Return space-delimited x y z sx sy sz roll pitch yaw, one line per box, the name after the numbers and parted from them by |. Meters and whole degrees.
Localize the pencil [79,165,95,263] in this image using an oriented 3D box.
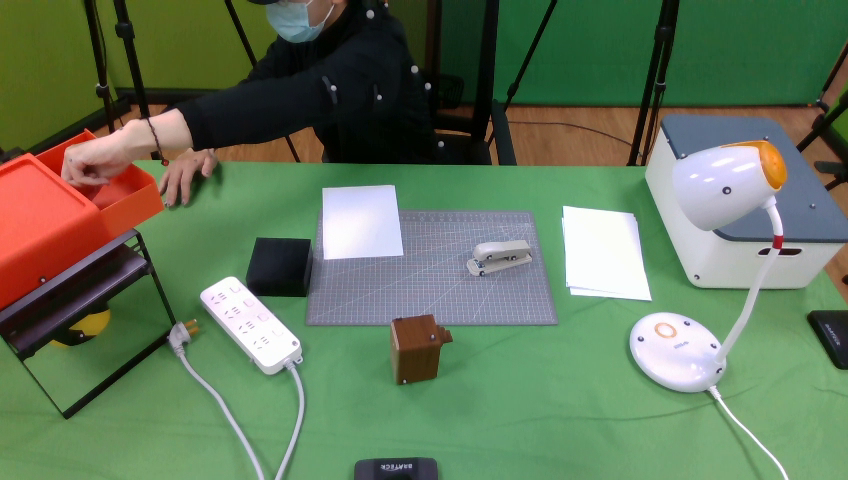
-0.527 -0.046 0.944 0.012 0.012 0.193 -14 60 -17 | pencil

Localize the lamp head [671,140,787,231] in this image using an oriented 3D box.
0.415 -0.078 0.811 0.113 0.123 0.112 13 70 -37 | lamp head

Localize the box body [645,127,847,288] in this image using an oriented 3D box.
0.625 -0.080 1.222 0.254 0.161 0.361 0 46 -3 | box body

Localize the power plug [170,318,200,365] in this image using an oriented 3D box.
-0.392 0.167 1.015 0.052 0.035 0.072 -30 92 -24 | power plug

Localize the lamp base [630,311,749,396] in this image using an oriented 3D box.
0.447 0.143 0.983 0.161 0.181 0.178 -24 55 -24 | lamp base

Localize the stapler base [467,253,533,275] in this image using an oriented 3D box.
0.147 0.035 1.171 0.131 0.024 0.041 -12 50 -18 | stapler base

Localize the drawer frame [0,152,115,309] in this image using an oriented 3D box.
-0.605 -0.012 0.874 0.201 0.083 0.213 31 52 23 | drawer frame

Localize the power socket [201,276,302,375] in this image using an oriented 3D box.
-0.297 0.141 1.034 0.072 0.033 0.225 -34 58 -30 | power socket

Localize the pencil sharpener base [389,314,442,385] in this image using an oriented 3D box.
-0.013 0.175 0.971 0.077 0.107 0.061 -8 47 -12 | pencil sharpener base

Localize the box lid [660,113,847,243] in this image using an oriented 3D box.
0.628 -0.132 1.170 0.263 0.015 0.369 1 46 -3 | box lid

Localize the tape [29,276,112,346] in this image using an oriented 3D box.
-0.594 0.118 1.021 0.117 0.053 0.116 3 44 -2 | tape

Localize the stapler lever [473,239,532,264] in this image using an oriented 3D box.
0.150 0.017 1.155 0.118 0.040 0.026 -13 50 -17 | stapler lever

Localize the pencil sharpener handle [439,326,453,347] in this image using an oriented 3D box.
0.036 0.155 0.976 0.031 0.068 0.036 -8 69 -11 | pencil sharpener handle

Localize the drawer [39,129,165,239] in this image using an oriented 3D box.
-0.548 -0.061 0.929 0.193 0.073 0.211 32 53 23 | drawer
